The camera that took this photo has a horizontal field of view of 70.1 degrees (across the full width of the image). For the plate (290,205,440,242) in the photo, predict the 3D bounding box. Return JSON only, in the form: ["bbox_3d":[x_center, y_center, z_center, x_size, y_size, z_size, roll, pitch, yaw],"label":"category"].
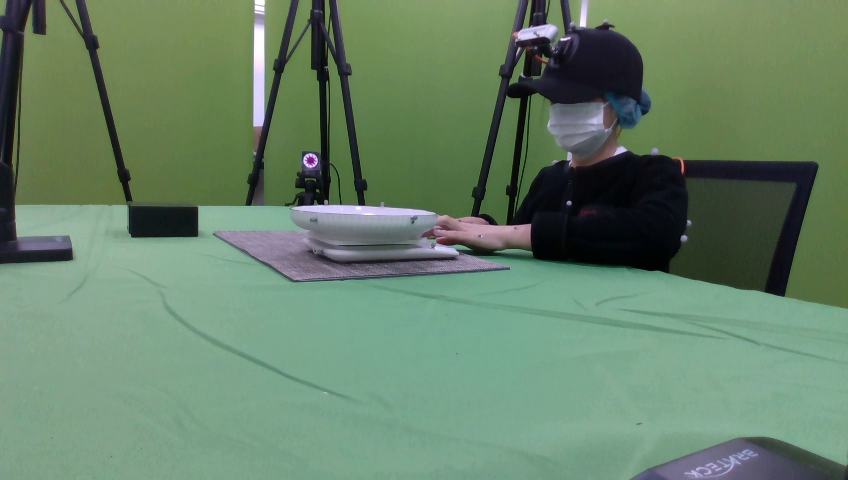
[{"bbox_3d":[-0.082,-0.023,0.852,0.208,0.039,0.207,3,6,0],"label":"plate"}]

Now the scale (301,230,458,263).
[{"bbox_3d":[-0.065,0.007,0.878,0.202,0.031,0.148,0,8,-29],"label":"scale"}]
